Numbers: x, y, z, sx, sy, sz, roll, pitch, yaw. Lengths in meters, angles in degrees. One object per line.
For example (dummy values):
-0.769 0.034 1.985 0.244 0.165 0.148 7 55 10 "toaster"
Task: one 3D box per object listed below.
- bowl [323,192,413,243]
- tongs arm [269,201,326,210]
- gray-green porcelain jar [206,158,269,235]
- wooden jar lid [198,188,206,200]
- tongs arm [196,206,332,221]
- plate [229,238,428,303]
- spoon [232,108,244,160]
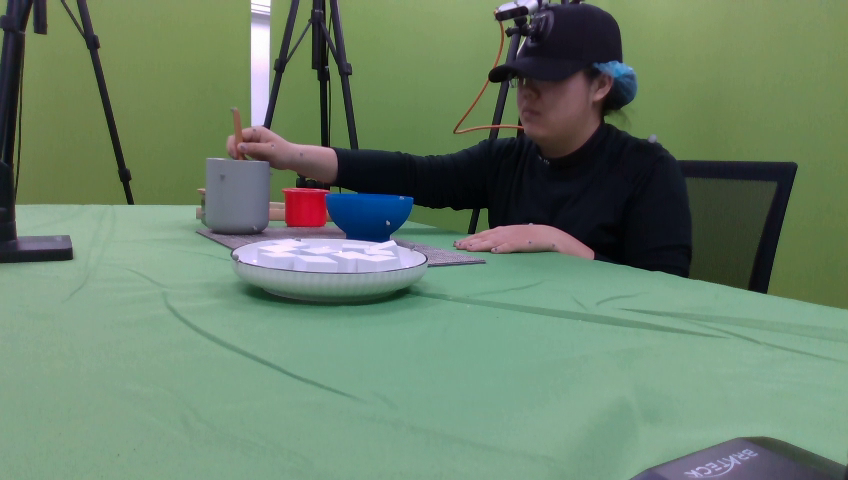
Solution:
-0.094 -0.037 1.015 0.151 0.077 0.151 3 7 0 "bowl"
-0.308 -0.073 1.410 0.386 0.026 0.050 3 8 -6 "tongs arm"
-0.323 -0.076 1.048 0.106 0.126 0.106 3 7 0 "gray-green porcelain jar"
-0.382 -0.088 1.175 0.108 0.020 0.108 3 8 0 "wooden jar lid"
-0.294 -0.057 1.330 0.389 0.028 0.028 0 5 -20 "tongs arm"
-0.099 0.032 0.651 0.209 0.038 0.209 3 8 0 "plate"
-0.319 -0.129 1.042 0.021 0.193 0.042 12 14 32 "spoon"
